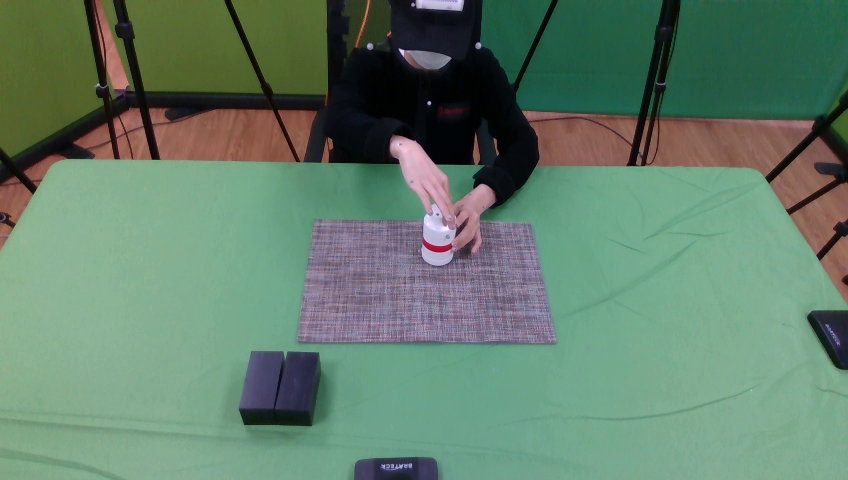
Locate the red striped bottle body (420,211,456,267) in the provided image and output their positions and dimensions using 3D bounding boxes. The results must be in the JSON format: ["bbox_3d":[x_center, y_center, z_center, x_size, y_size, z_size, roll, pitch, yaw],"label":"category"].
[{"bbox_3d":[0.027,-0.011,1.139,0.063,0.120,0.062,3,45,-2],"label":"red striped bottle body"}]

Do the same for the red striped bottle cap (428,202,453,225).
[{"bbox_3d":[0.030,-0.049,1.101,0.044,0.018,0.044,1,46,0],"label":"red striped bottle cap"}]
